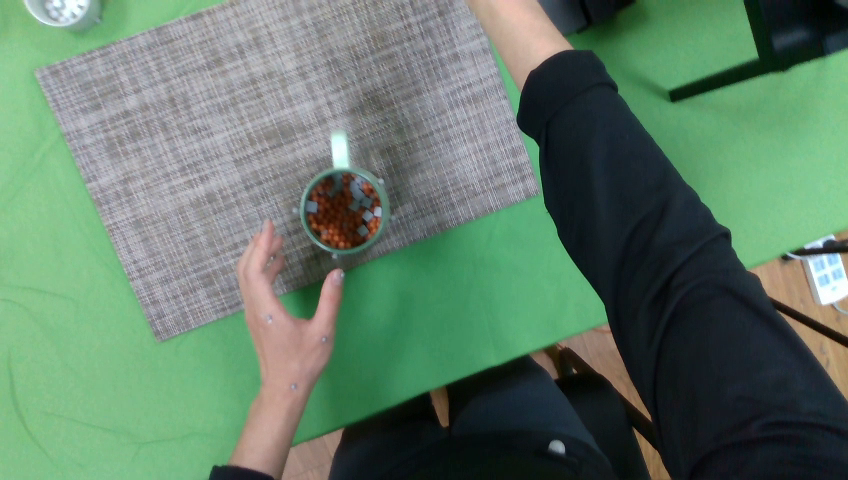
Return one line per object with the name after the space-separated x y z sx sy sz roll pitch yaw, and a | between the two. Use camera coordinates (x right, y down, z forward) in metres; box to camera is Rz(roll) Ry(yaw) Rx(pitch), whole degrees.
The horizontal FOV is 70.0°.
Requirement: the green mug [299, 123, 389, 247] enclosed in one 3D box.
-0.081 -0.054 0.608 0.092 0.104 0.125 -4 96 -5 | green mug

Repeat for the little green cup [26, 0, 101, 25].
-0.351 -0.242 0.593 0.061 0.038 0.061 -1 97 -6 | little green cup
